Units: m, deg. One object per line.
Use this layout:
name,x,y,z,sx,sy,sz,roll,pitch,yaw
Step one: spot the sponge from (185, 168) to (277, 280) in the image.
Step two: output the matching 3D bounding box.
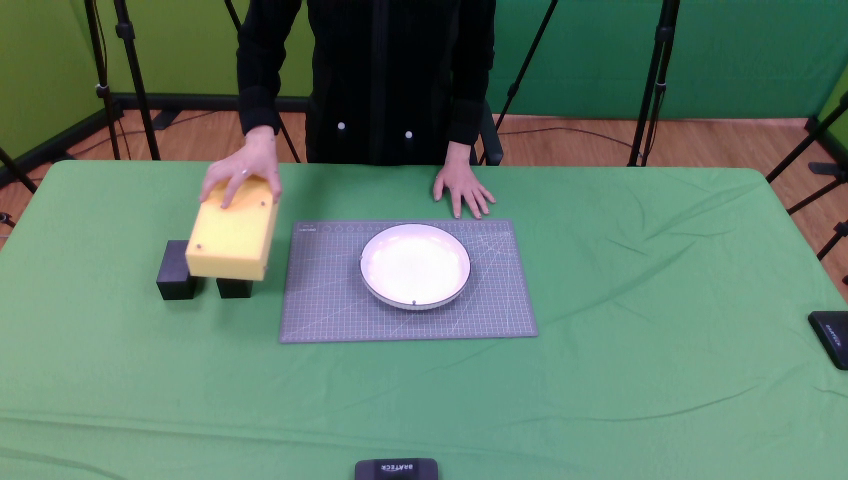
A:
sponge,-0.333,-0.032,1.069,0.118,0.061,0.205,4,50,-7

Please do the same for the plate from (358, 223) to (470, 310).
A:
plate,-0.019,0.052,1.132,0.209,0.038,0.208,2,46,-2
